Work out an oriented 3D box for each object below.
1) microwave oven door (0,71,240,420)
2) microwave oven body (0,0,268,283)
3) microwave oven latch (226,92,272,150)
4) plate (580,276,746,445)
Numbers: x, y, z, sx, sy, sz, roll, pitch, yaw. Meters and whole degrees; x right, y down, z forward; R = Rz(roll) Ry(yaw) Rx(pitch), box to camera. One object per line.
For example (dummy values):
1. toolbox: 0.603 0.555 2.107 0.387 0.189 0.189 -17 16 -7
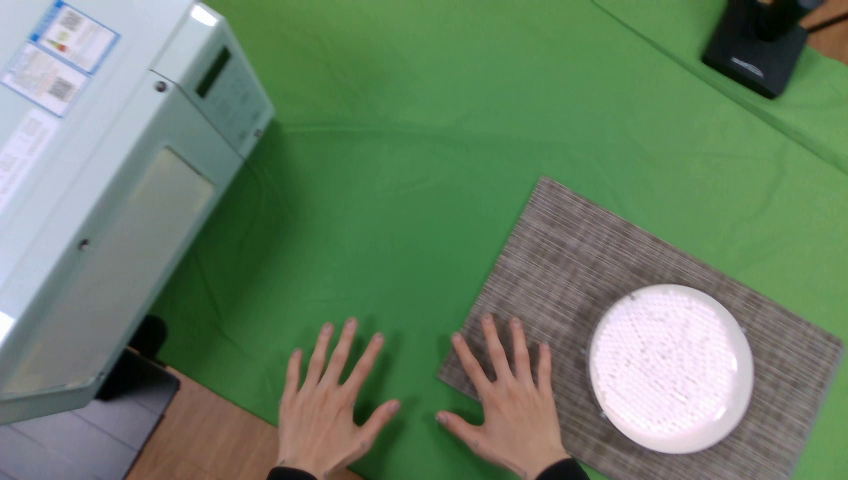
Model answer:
1. microwave oven door: -0.329 0.018 0.630 0.039 0.244 0.355 30 82 2
2. microwave oven body: -0.434 -0.091 0.642 0.326 0.260 0.441 30 82 1
3. microwave oven latch: -0.222 -0.154 0.760 0.030 0.029 0.079 32 83 1
4. plate: 0.297 0.149 0.765 0.209 0.038 0.208 0 83 -3
